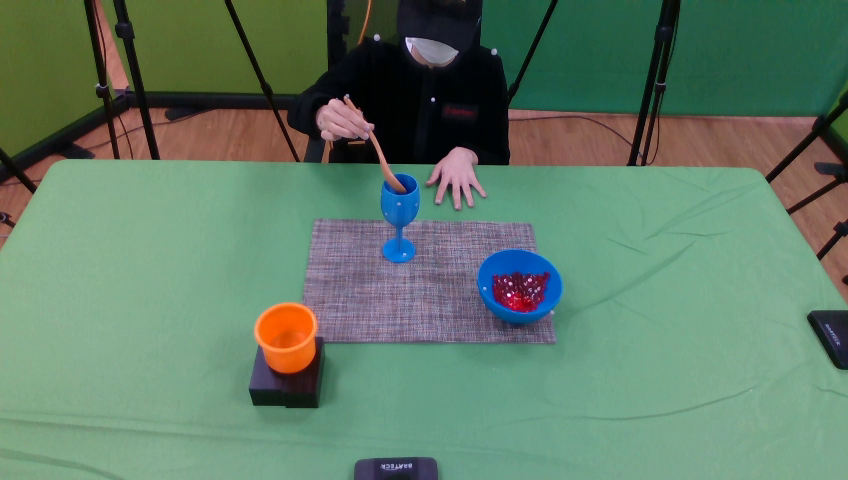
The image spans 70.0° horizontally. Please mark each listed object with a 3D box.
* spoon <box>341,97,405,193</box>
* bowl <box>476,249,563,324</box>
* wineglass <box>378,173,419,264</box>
[{"bbox_3d":[-0.088,-0.162,1.043,0.021,0.041,0.194,-29,93,-12],"label":"spoon"},{"bbox_3d":[0.163,0.096,1.074,0.151,0.077,0.150,2,45,-2],"label":"bowl"},{"bbox_3d":[-0.047,-0.037,1.121,0.074,0.173,0.073,2,46,-2],"label":"wineglass"}]
